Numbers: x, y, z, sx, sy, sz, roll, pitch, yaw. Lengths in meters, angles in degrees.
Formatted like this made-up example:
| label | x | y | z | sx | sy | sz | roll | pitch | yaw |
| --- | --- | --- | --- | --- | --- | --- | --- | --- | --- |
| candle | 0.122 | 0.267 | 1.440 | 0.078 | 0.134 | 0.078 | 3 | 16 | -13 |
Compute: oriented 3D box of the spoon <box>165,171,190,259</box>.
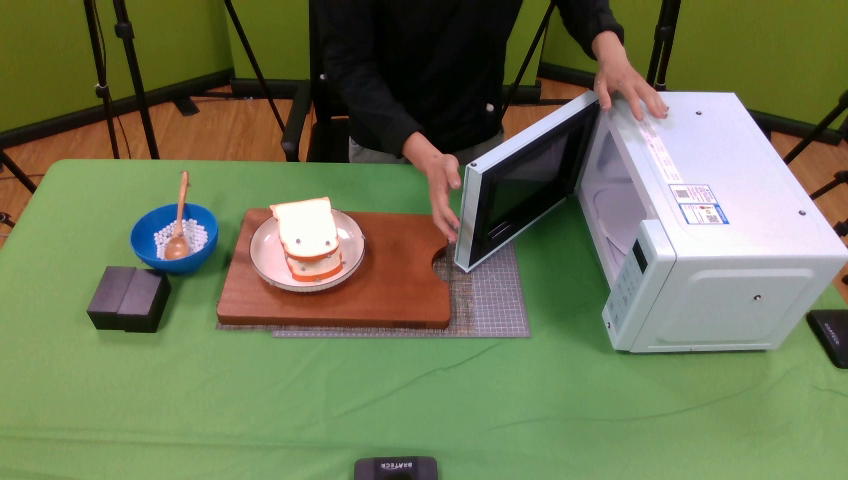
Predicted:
| label | x | y | z | sx | sy | sz | roll | pitch | yaw |
| --- | --- | --- | --- | --- | --- | --- | --- | --- | --- |
| spoon | -0.452 | -0.046 | 1.129 | 0.041 | 0.022 | 0.193 | -1 | 69 | -2 |

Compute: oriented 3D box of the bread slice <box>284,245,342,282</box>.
| label | x | y | z | sx | sy | sz | roll | pitch | yaw |
| --- | --- | --- | --- | --- | --- | --- | --- | --- | --- |
| bread slice | -0.204 | 0.024 | 1.115 | 0.105 | 0.019 | 0.130 | -13 | 45 | -13 |

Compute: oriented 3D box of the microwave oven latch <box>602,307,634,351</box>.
| label | x | y | z | sx | sy | sz | roll | pitch | yaw |
| --- | --- | --- | --- | --- | --- | --- | --- | --- | --- |
| microwave oven latch | 0.332 | 0.153 | 1.044 | 0.030 | 0.029 | 0.078 | -1 | 45 | -4 |

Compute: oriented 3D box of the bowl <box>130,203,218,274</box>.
| label | x | y | z | sx | sy | sz | roll | pitch | yaw |
| --- | --- | --- | --- | --- | --- | --- | --- | --- | --- |
| bowl | -0.450 | 0.010 | 1.116 | 0.151 | 0.077 | 0.150 | 3 | 45 | -2 |

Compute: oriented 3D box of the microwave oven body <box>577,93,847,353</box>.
| label | x | y | z | sx | sy | sz | roll | pitch | yaw |
| --- | --- | --- | --- | --- | --- | --- | --- | --- | --- |
| microwave oven body | 0.475 | -0.041 | 1.110 | 0.326 | 0.261 | 0.438 | -1 | 45 | -4 |

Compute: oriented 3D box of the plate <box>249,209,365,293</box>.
| label | x | y | z | sx | sy | sz | roll | pitch | yaw |
| --- | --- | --- | --- | --- | --- | --- | --- | --- | --- |
| plate | -0.212 | 0.021 | 1.113 | 0.208 | 0.039 | 0.206 | 3 | 45 | -2 |

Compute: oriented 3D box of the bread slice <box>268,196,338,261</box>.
| label | x | y | z | sx | sy | sz | roll | pitch | yaw |
| --- | --- | --- | --- | --- | --- | --- | --- | --- | --- |
| bread slice | -0.207 | -0.020 | 1.071 | 0.107 | 0.018 | 0.133 | -14 | 55 | -18 |

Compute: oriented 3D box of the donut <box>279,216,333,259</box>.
| label | x | y | z | sx | sy | sz | roll | pitch | yaw |
| --- | --- | --- | --- | --- | --- | --- | --- | --- | --- |
| donut | -0.213 | -0.005 | 1.097 | 0.099 | 0.048 | 0.098 | -2 | 41 | 2 |

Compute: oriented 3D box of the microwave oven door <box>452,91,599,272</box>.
| label | x | y | z | sx | sy | sz | roll | pitch | yaw |
| --- | --- | --- | --- | --- | --- | --- | --- | --- | --- |
| microwave oven door | 0.197 | -0.115 | 1.153 | 0.356 | 0.245 | 0.039 | -34 | 57 | -31 |
